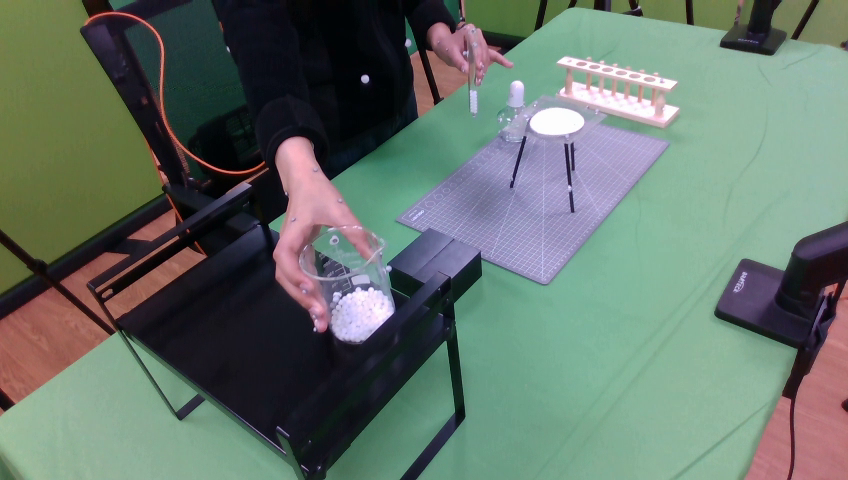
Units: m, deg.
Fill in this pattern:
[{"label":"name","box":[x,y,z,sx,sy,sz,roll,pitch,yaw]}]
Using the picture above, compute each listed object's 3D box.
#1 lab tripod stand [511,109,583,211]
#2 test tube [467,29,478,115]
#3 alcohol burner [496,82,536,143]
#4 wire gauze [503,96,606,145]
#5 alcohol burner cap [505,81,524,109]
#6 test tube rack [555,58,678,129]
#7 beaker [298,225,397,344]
[{"label":"lab tripod stand","box":[0.220,-0.138,1.014,0.148,0.132,0.147,-3,41,3]},{"label":"test tube","box":[0.081,-0.276,1.009,0.017,0.151,0.017,-3,42,3]},{"label":"alcohol burner","box":[0.178,-0.250,1.168,0.078,0.119,0.077,-5,42,5]},{"label":"wire gauze","box":[0.211,-0.192,0.975,0.120,0.011,0.125,24,49,32]},{"label":"alcohol burner cap","box":[0.173,-0.277,1.145,0.034,0.048,0.033,1,40,-1]},{"label":"test tube rack","box":[0.390,-0.308,1.229,0.240,0.085,0.067,26,51,33]},{"label":"beaker","box":[-0.067,0.045,0.586,0.084,0.101,0.073,-15,41,-3]}]
